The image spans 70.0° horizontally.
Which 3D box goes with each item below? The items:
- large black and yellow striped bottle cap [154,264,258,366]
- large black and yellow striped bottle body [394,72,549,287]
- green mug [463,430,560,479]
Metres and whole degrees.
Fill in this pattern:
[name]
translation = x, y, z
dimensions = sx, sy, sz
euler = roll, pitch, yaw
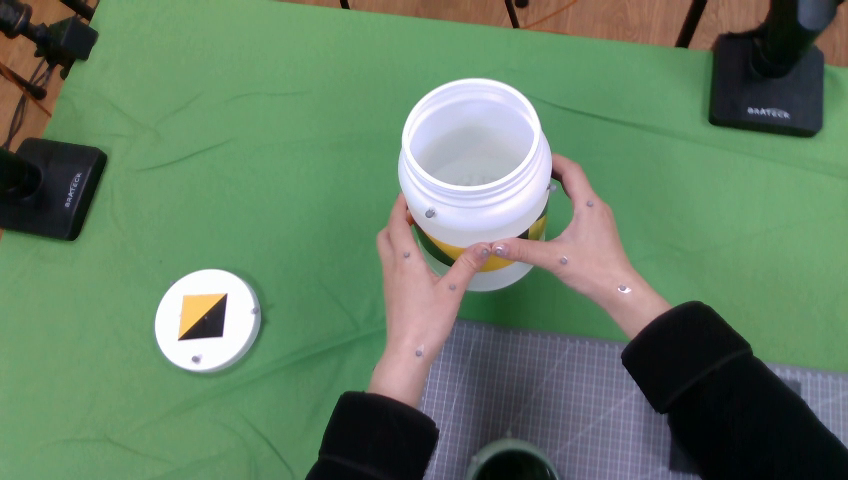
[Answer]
[large black and yellow striped bottle cap]
translation = -0.244, 0.083, 0.678
dimensions = 0.115, 0.019, 0.114
euler = -1, 72, 4
[large black and yellow striped bottle body]
translation = 0.045, -0.049, 0.548
dimensions = 0.130, 0.185, 0.129
euler = -3, 64, 6
[green mug]
translation = 0.064, 0.228, 0.559
dimensions = 0.125, 0.105, 0.092
euler = -17, 73, 0
